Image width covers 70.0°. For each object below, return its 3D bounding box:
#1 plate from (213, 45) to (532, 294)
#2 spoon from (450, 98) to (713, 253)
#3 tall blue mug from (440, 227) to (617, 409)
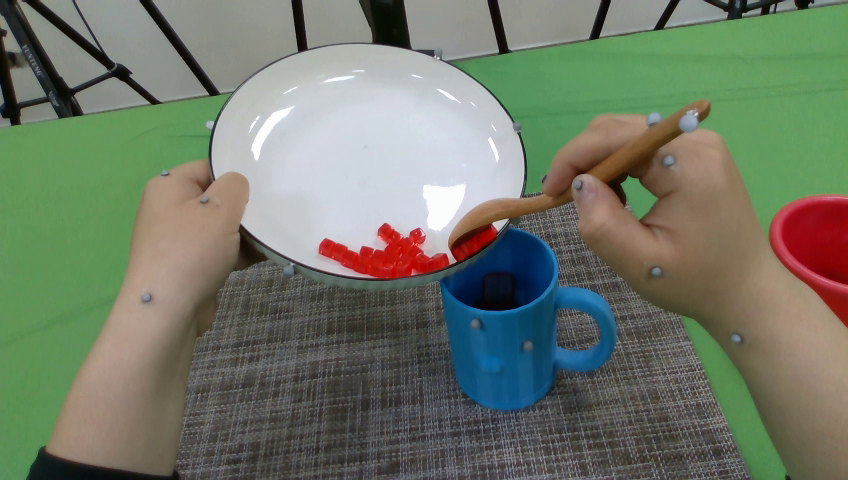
[{"bbox_3d":[-0.032,-0.050,0.413,0.208,0.039,0.205,4,56,-5],"label":"plate"},{"bbox_3d":[0.064,-0.023,0.298,0.041,0.193,0.021,-29,92,-28],"label":"spoon"},{"bbox_3d":[0.069,0.052,0.418,0.107,0.109,0.077,-12,43,-2],"label":"tall blue mug"}]
